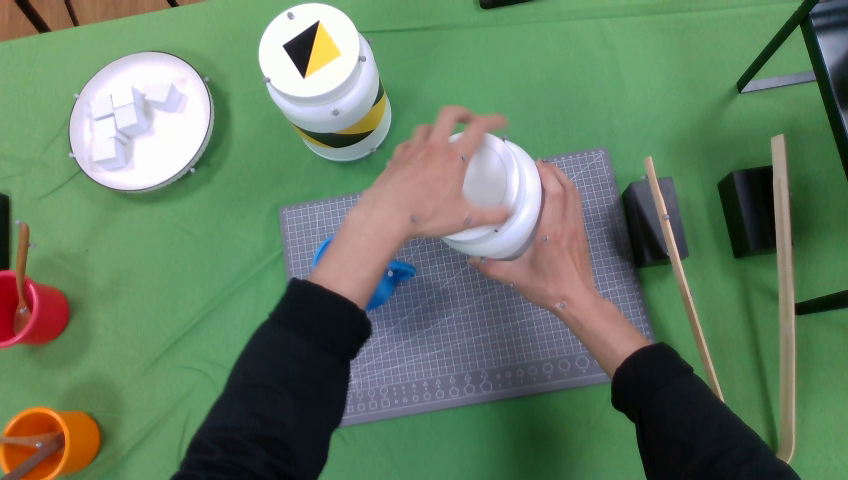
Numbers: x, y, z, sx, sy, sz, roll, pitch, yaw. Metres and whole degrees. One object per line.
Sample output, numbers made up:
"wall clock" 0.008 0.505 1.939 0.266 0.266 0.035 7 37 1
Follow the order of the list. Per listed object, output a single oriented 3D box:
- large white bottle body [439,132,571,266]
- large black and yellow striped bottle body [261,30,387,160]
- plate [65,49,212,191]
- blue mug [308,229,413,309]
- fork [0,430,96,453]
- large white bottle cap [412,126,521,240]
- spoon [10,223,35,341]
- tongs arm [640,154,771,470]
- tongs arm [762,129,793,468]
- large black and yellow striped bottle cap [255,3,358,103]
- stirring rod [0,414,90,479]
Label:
"large white bottle body" 0.081 -0.044 0.683 0.130 0.186 0.130 -5 79 27
"large black and yellow striped bottle body" -0.123 -0.190 0.758 0.130 0.185 0.130 -1 77 5
"plate" -0.396 -0.166 0.853 0.207 0.039 0.206 -1 78 5
"blue mug" -0.071 0.038 0.744 0.116 0.106 0.082 -3 77 4
"fork" -0.506 0.237 0.721 0.209 0.018 0.028 17 74 -36
"large white bottle cap" 0.041 -0.058 0.609 0.114 0.018 0.114 -5 79 27
"spoon" -0.507 0.056 0.762 0.041 0.021 0.195 35 127 14
"tongs arm" 0.325 0.080 0.703 0.051 0.026 0.384 -14 89 0
"tongs arm" 0.406 0.066 0.700 0.028 0.028 0.387 -1 90 -3
"large black and yellow striped bottle cap" -0.131 -0.210 0.677 0.115 0.019 0.114 -1 79 4
"stirring rod" -0.477 0.270 0.718 0.014 0.006 0.176 36 41 8
